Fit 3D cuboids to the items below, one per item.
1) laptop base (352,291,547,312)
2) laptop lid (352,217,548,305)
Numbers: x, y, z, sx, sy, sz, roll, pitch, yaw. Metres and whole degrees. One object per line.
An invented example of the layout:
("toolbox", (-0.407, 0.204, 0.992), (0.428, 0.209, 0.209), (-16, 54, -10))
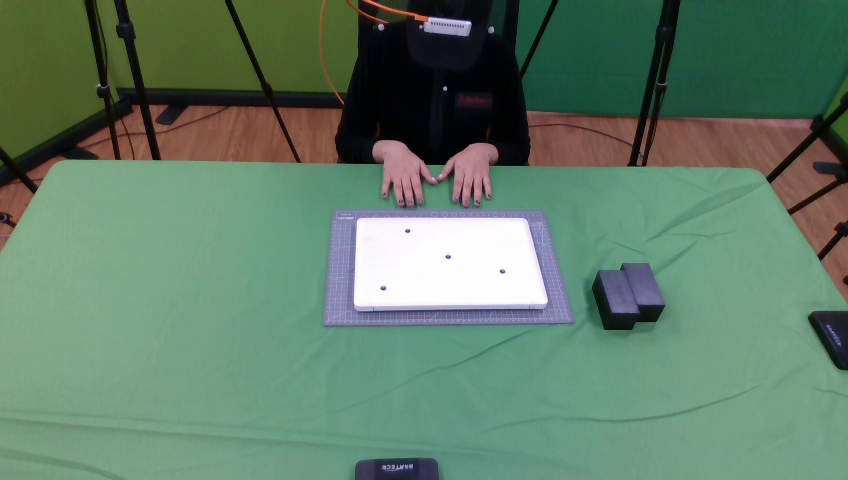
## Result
("laptop base", (0.043, 0.044, 1.162), (0.355, 0.023, 0.234), (0, 43, -5))
("laptop lid", (0.044, 0.034, 1.155), (0.357, 0.013, 0.240), (1, 44, -3))
